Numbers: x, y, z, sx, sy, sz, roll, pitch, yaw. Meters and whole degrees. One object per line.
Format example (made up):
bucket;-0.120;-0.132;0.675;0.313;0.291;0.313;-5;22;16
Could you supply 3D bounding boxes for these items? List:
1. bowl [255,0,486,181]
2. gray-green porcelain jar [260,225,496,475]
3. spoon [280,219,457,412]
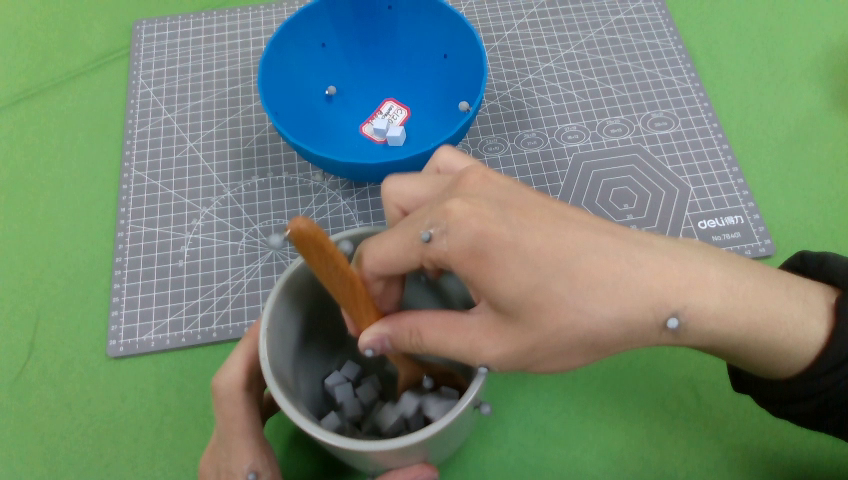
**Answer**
bowl;-0.033;-0.096;0.426;0.151;0.077;0.150;-1;64;2
gray-green porcelain jar;-0.018;0.067;0.324;0.106;0.127;0.105;-1;64;2
spoon;-0.019;0.047;0.292;0.041;0.196;0.021;-22;57;3
